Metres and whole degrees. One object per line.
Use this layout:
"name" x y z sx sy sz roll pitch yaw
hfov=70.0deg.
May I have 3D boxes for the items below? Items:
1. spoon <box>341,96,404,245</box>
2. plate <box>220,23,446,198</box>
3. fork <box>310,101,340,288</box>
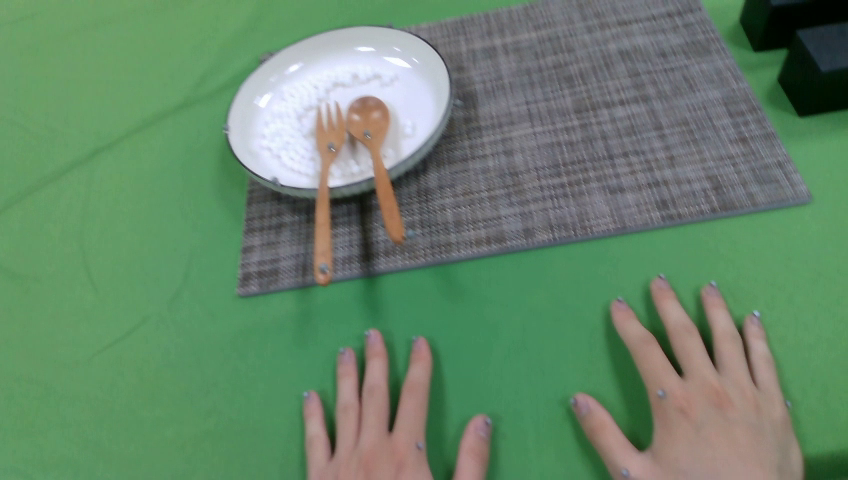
"spoon" -0.041 -0.064 0.496 0.041 0.022 0.191 -15 42 -1
"plate" -0.081 -0.118 0.558 0.207 0.039 0.205 -5 56 7
"fork" -0.083 -0.046 0.493 0.028 0.019 0.205 -8 48 2
